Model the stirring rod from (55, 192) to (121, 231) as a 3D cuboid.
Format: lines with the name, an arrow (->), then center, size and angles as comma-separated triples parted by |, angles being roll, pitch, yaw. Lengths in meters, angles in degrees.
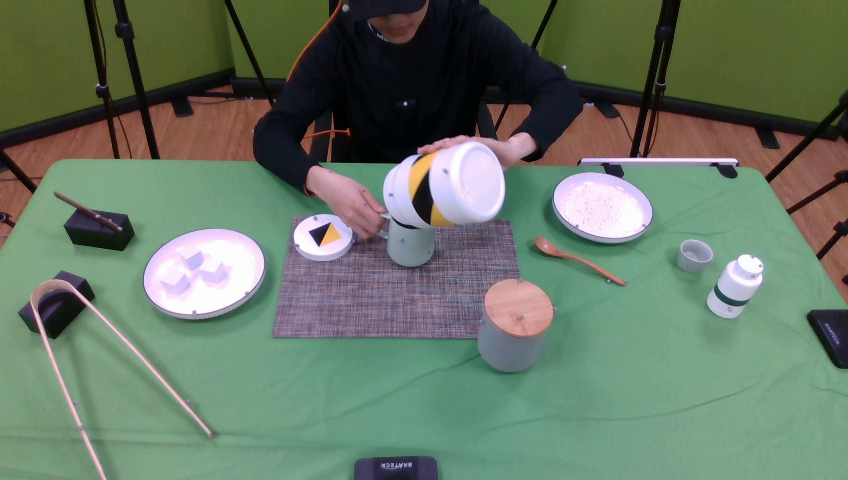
stirring rod -> -0.632, -0.055, 1.138 | 0.175, 0.014, 0.006 | 24, 50, 19

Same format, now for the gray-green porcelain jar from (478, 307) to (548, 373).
gray-green porcelain jar -> 0.144, 0.148, 0.989 | 0.106, 0.127, 0.105 | 2, 50, -2

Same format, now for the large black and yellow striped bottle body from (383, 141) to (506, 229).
large black and yellow striped bottle body -> 0.030, -0.088, 1.025 | 0.183, 0.131, 0.130 | -6, 32, 45

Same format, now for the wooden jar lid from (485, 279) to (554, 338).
wooden jar lid -> 0.147, 0.108, 0.940 | 0.108, 0.021, 0.107 | 4, 47, -5

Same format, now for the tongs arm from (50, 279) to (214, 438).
tongs arm -> -0.459, 0.178, 0.949 | 0.386, 0.028, 0.028 | 37, 60, 17

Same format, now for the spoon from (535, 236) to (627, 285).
spoon -> 0.304, 0.040, 1.178 | 0.193, 0.022, 0.041 | 25, 35, 20

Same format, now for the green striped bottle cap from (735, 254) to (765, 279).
green striped bottle cap -> 0.566, 0.046, 1.051 | 0.044, 0.020, 0.044 | 0, 45, 0

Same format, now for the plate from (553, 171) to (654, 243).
plate -> 0.373, -0.066, 1.274 | 0.209, 0.038, 0.208 | 2, 46, -2

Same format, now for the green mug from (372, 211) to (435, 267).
green mug -> -0.040, -0.015, 1.145 | 0.125, 0.105, 0.092 | 16, 47, 11

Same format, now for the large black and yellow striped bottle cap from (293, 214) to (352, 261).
large black and yellow striped bottle cap -> -0.198, -0.007, 1.187 | 0.115, 0.019, 0.114 | 3, 47, -3

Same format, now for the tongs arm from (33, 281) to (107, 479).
tongs arm -> -0.517, 0.214, 0.910 | 0.051, 0.026, 0.383 | -28, 63, -27

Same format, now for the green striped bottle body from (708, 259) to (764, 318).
green striped bottle body -> 0.563, 0.081, 1.089 | 0.063, 0.120, 0.063 | 2, 46, -2

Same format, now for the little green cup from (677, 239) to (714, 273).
little green cup -> 0.530, 0.033, 1.189 | 0.061, 0.039, 0.061 | 2, 47, -2

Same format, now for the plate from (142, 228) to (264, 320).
plate -> -0.394, 0.064, 1.095 | 0.208, 0.039, 0.206 | 2, 46, -2
